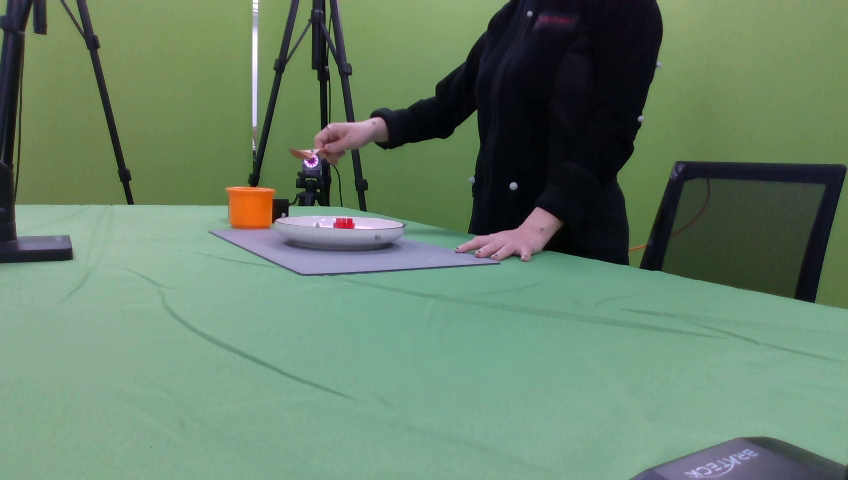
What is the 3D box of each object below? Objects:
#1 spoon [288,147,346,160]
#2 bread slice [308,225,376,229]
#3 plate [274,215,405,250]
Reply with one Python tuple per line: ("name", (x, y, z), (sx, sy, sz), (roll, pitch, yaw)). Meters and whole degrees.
("spoon", (-0.196, -0.169, 1.155), (0.041, 0.021, 0.194), (19, 19, 17))
("bread slice", (-0.133, -0.011, 0.974), (0.135, 0.018, 0.106), (-2, 8, -33))
("plate", (-0.136, -0.013, 0.981), (0.209, 0.038, 0.209), (2, 7, 0))
